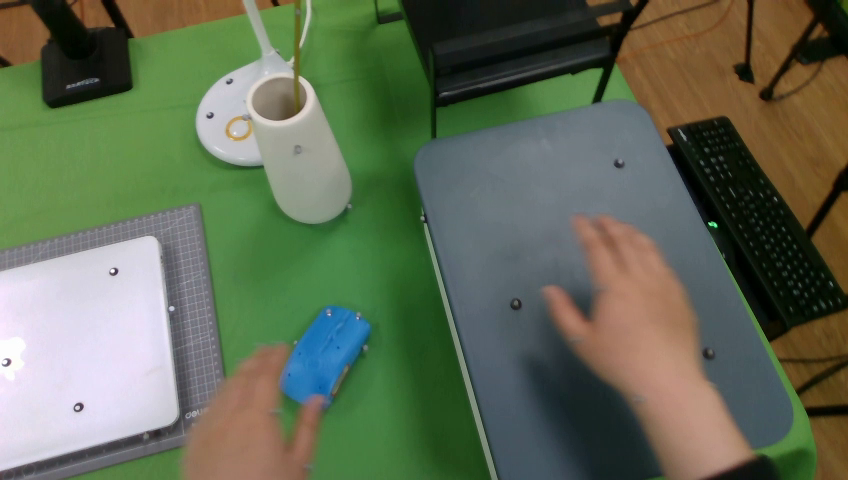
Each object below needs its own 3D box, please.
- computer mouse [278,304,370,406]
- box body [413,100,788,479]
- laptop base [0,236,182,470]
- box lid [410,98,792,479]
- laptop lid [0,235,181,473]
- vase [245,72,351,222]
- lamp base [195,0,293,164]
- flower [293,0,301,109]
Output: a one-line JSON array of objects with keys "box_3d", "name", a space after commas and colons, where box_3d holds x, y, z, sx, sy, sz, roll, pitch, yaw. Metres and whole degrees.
[{"box_3d": [-0.112, 0.125, 0.681, 0.062, 0.041, 0.116, 23, 62, 14], "name": "computer mouse"}, {"box_3d": [0.152, 0.061, 0.641, 0.254, 0.161, 0.360, -13, 65, -5], "name": "box body"}, {"box_3d": [-0.462, 0.140, 0.687, 0.355, 0.023, 0.233, -15, 69, -7], "name": "laptop base"}, {"box_3d": [0.149, 0.026, 0.574, 0.263, 0.015, 0.368, -13, 65, -6], "name": "box lid"}, {"box_3d": [-0.462, 0.137, 0.675, 0.357, 0.013, 0.239, -14, 68, -6], "name": "laptop lid"}, {"box_3d": [-0.145, -0.102, 0.700, 0.098, 0.201, 0.097, -1, 64, 2], "name": "vase"}, {"box_3d": [-0.229, -0.217, 0.765, 0.160, 0.181, 0.178, 16, 63, 8], "name": "lamp base"}, {"box_3d": [-0.133, -0.150, 0.631, 0.038, 0.364, 0.043, -21, 55, -28], "name": "flower"}]
